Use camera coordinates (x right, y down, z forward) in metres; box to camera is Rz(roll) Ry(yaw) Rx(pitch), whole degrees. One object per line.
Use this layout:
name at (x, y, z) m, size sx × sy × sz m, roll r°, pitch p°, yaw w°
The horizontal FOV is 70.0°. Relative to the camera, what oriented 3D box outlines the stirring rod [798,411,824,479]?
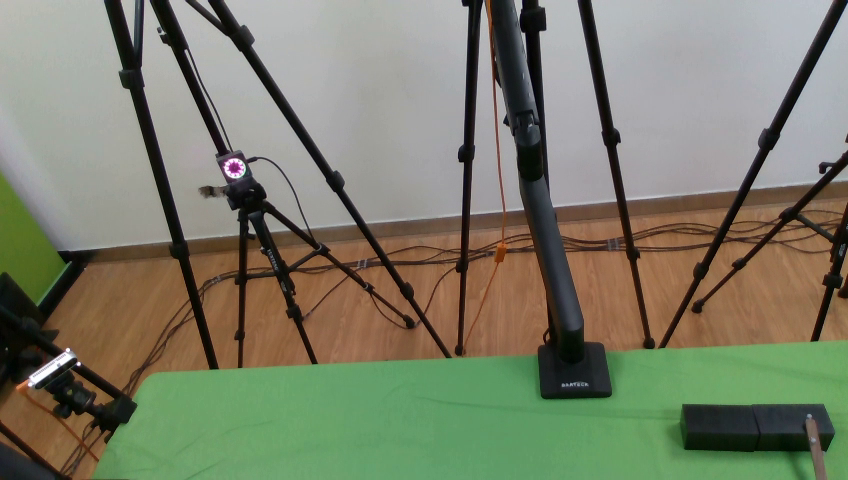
stirring rod at (0.546, 0.326, 0.842) m, size 0.014 × 0.006 × 0.174 m, roll 0°, pitch 60°, yaw 10°
